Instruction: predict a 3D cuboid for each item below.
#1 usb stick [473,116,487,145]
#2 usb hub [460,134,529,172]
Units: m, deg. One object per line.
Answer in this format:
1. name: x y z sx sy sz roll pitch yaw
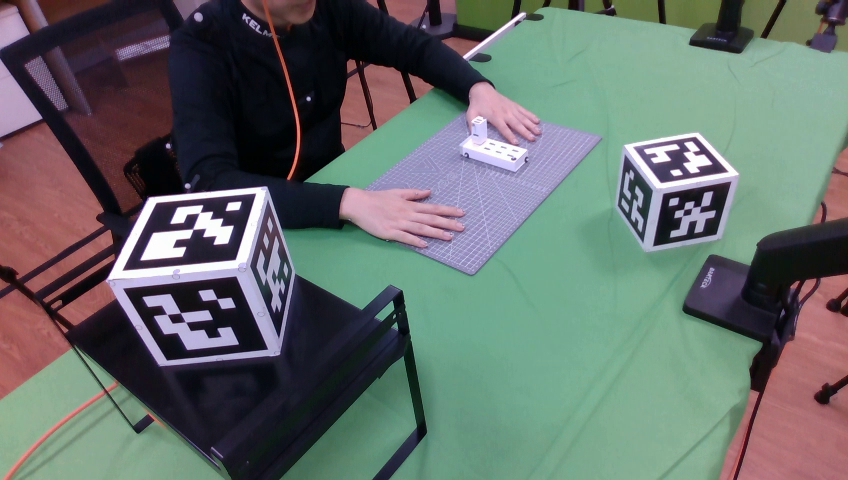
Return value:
1. usb stick: 0.105 -0.208 1.127 0.021 0.059 0.027 8 45 5
2. usb hub: 0.132 -0.165 1.138 0.124 0.025 0.049 22 50 30
